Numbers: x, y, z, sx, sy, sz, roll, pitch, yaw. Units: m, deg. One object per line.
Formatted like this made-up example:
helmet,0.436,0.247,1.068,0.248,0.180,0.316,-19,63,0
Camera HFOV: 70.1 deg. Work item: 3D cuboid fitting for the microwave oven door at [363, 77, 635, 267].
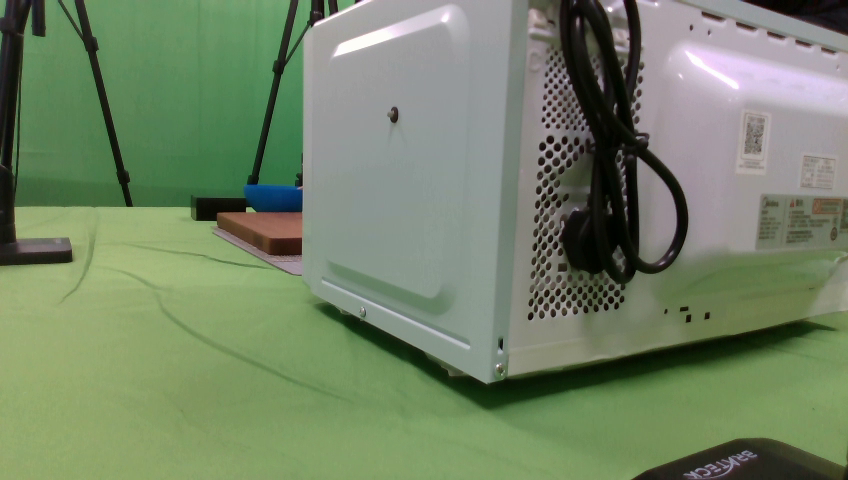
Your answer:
microwave oven door,0.091,-0.098,0.823,0.355,0.243,0.039,4,8,15

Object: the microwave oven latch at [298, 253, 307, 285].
microwave oven latch,-0.081,0.027,0.582,0.079,0.029,0.030,-1,7,-32

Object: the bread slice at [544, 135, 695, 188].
bread slice,0.202,-0.079,0.613,0.133,0.018,0.107,23,14,34

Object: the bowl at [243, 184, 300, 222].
bowl,-0.322,-0.081,1.333,0.151,0.077,0.151,3,8,0

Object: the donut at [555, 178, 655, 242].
donut,0.182,-0.032,0.612,0.099,0.048,0.099,13,-13,3

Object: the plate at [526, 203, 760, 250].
plate,0.201,-0.012,0.576,0.208,0.039,0.207,2,2,0

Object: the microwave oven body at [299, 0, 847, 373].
microwave oven body,0.151,-0.055,0.543,0.444,0.260,0.324,-2,7,-33

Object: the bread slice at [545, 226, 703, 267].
bread slice,0.200,0.008,0.588,0.105,0.019,0.131,10,-12,-29

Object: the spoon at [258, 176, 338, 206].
spoon,-0.279,-0.112,1.356,0.194,0.021,0.041,-27,18,-27
